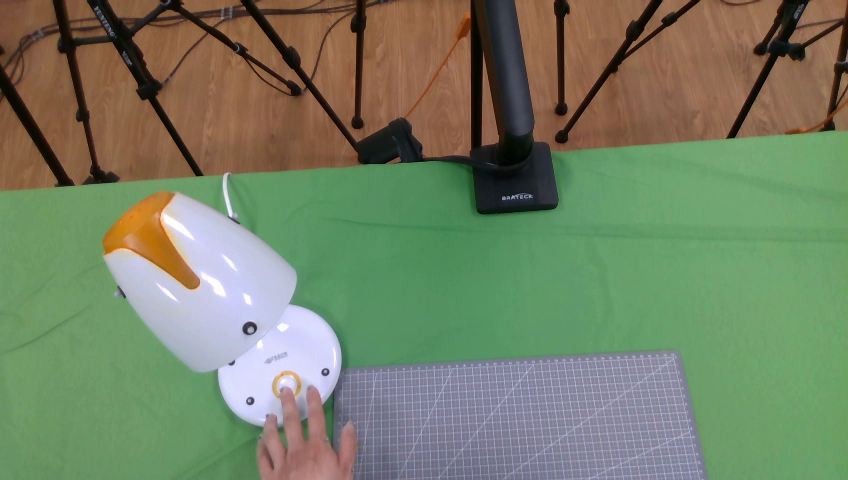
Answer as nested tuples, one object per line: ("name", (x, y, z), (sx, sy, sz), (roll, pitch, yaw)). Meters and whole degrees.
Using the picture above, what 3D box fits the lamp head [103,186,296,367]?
("lamp head", (-0.178, 0.017, 0.464), (0.112, 0.124, 0.111), (-30, 28, 18))

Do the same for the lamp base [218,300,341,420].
("lamp base", (-0.201, 0.113, 0.731), (0.160, 0.182, 0.177), (-31, 64, -11))
